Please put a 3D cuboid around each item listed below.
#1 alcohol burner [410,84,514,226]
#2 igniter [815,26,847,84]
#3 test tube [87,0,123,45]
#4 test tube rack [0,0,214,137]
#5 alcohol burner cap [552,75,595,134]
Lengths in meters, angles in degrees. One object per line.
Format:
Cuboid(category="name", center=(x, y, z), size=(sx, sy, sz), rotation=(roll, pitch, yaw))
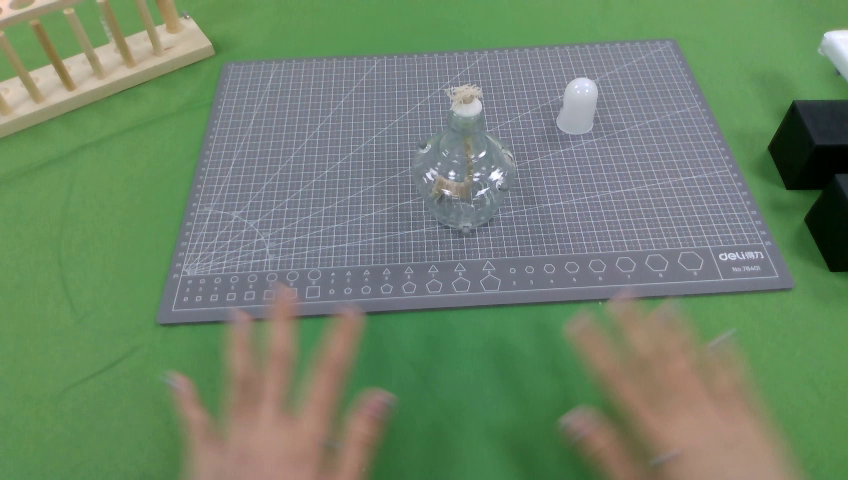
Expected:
Cuboid(category="alcohol burner", center=(0.028, -0.065, 0.437), size=(0.078, 0.120, 0.077), rotation=(0, 53, 0))
Cuboid(category="igniter", center=(0.351, -0.068, 0.426), size=(0.057, 0.025, 0.273), rotation=(-4, 51, 3))
Cuboid(category="test tube", center=(-0.309, -0.247, 0.543), size=(0.017, 0.152, 0.017), rotation=(-4, 44, 4))
Cuboid(category="test tube rack", center=(-0.332, -0.180, 0.560), size=(0.242, 0.086, 0.066), rotation=(-29, 57, -19))
Cuboid(category="alcohol burner cap", center=(0.130, -0.119, 0.520), size=(0.034, 0.048, 0.033), rotation=(0, 52, 0))
